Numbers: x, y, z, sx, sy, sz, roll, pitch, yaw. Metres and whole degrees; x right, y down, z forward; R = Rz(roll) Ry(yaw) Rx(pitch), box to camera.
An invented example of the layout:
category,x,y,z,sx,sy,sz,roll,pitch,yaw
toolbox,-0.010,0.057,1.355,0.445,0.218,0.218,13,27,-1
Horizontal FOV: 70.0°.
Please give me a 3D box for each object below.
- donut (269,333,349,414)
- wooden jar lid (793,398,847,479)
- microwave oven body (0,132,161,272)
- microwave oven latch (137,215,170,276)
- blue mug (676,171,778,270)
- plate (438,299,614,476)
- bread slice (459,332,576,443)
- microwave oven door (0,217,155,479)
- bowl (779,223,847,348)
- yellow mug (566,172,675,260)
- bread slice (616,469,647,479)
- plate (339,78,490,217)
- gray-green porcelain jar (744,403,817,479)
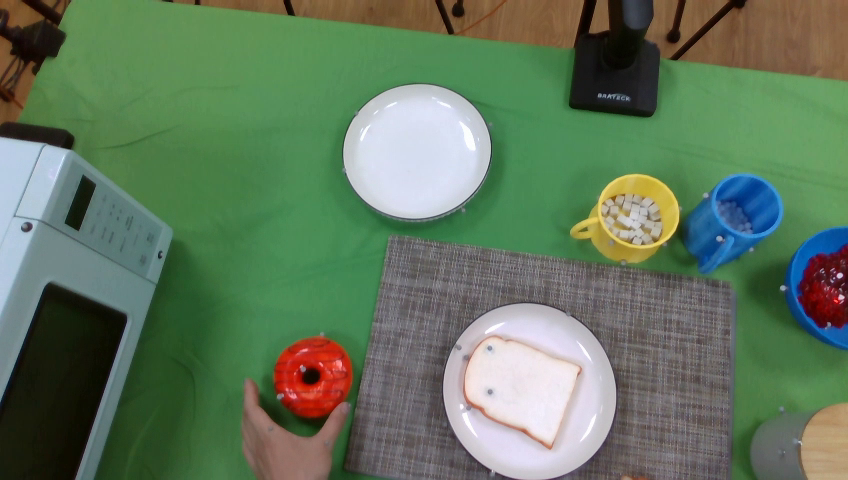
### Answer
category,x,y,z,sx,sy,sz,roll,pitch,yaw
donut,-0.142,0.166,0.752,0.099,0.048,0.098,0,74,-1
wooden jar lid,0.418,0.213,0.600,0.108,0.021,0.108,0,74,1
microwave oven body,-0.544,0.117,0.668,0.326,0.262,0.439,9,73,6
microwave oven latch,-0.360,0.006,0.796,0.030,0.030,0.079,12,74,6
blue mug,0.367,-0.014,0.753,0.082,0.106,0.116,28,76,12
plate,0.122,0.176,0.735,0.209,0.038,0.207,-1,72,3
bread slice,0.109,0.173,0.740,0.131,0.019,0.104,22,74,6
microwave oven door,-0.409,0.179,0.636,0.039,0.245,0.354,9,72,6
bowl,0.498,0.062,0.736,0.151,0.077,0.150,-1,72,3
yellow mug,0.248,-0.026,0.783,0.131,0.064,0.099,-13,71,0
bread slice,0.227,0.303,0.642,0.018,0.135,0.106,17,72,0
plate,-0.013,-0.125,0.843,0.207,0.039,0.206,-1,72,3
gray-green porcelain jar,0.422,0.233,0.659,0.106,0.127,0.105,-1,72,3
